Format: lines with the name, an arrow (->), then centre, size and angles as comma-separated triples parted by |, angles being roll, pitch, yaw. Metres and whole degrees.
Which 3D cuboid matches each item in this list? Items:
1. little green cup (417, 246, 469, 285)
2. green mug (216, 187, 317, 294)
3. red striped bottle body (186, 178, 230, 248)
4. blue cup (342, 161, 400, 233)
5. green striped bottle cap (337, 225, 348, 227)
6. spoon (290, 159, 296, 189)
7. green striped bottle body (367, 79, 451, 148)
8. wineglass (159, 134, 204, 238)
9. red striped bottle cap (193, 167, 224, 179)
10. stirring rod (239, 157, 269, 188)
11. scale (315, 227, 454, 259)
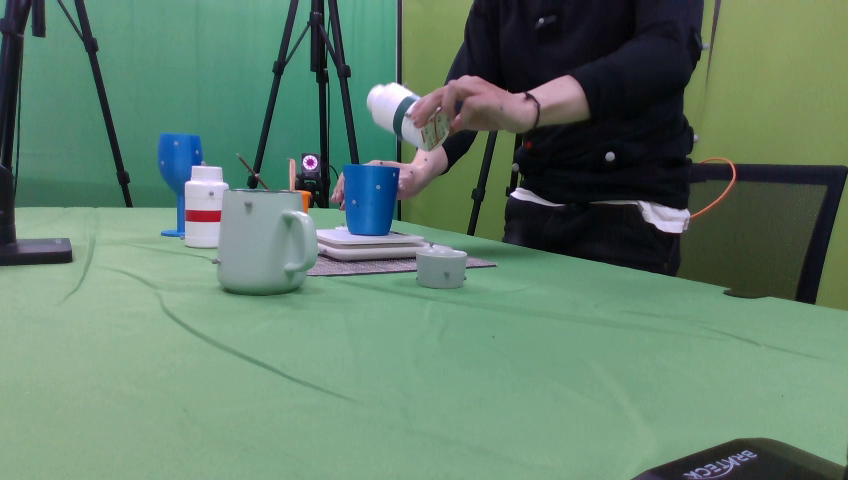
little green cup -> 0.021, 0.029, 0.701 | 0.061, 0.038, 0.061 | 1, 6, 0
green mug -> -0.157, 0.000, 0.629 | 0.124, 0.105, 0.093 | 7, 9, 37
red striped bottle body -> -0.331, -0.050, 0.927 | 0.063, 0.119, 0.063 | 2, 6, 0
blue cup -> -0.078, -0.062, 0.884 | 0.093, 0.100, 0.092 | 2, 4, 0
green striped bottle cap -> -0.137, -0.015, 1.092 | 0.044, 0.020, 0.044 | 0, 9, 0
spoon -> -0.273, -0.102, 1.252 | 0.042, 0.193, 0.021 | 7, -38, -17
green striped bottle body -> -0.025, -0.180, 0.833 | 0.119, 0.063, 0.063 | 35, 24, 28
wineglass -> -0.415, -0.093, 1.040 | 0.074, 0.172, 0.073 | 2, 7, 0
red striped bottle cap -> -0.329, -0.103, 0.921 | 0.044, 0.017, 0.044 | -1, 9, 0
stirring rod -> -0.309, -0.098, 1.209 | 0.006, 0.177, 0.014 | -38, 29, -3
scale -> -0.066, 0.001, 0.906 | 0.202, 0.031, 0.148 | -2, 8, -31
